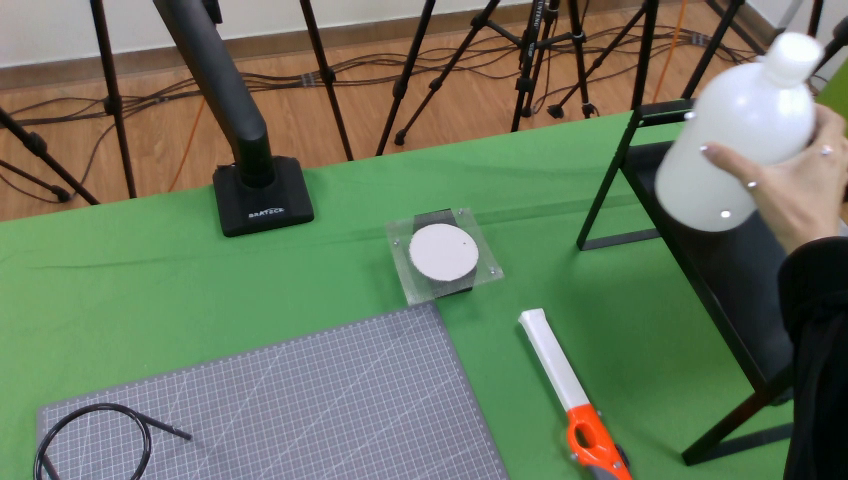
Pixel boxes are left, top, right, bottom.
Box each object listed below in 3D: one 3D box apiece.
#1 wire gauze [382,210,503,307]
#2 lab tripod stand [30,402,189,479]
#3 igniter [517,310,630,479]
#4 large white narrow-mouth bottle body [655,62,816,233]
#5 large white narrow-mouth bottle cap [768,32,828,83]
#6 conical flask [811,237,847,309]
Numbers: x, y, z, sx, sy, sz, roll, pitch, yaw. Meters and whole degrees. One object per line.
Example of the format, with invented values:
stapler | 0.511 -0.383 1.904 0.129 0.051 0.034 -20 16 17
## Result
wire gauze | 0.020 0.016 0.745 0.122 0.011 0.123 -12 56 -14
lab tripod stand | -0.273 0.216 0.543 0.148 0.132 0.147 4 53 -5
igniter | 0.172 0.197 0.673 0.057 0.025 0.273 -6 53 -23
large white narrow-mouth bottle body | 0.295 -0.097 0.562 0.102 0.196 0.101 2 57 -3
large white narrow-mouth bottle cap | 0.301 -0.147 0.489 0.038 0.024 0.037 2 57 -3
conical flask | 0.425 0.007 0.557 0.075 0.123 0.074 3 52 -3
